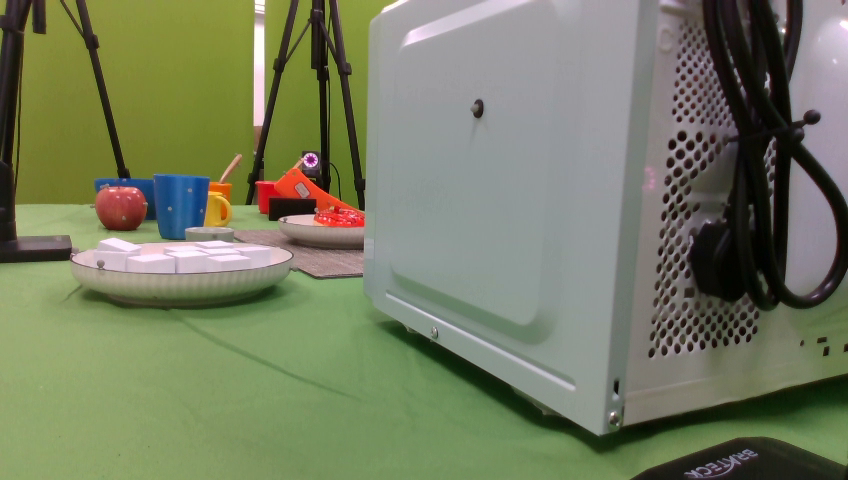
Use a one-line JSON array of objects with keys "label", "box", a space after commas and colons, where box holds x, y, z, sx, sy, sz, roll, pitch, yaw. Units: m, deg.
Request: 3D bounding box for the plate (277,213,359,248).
[{"label": "plate", "box": [-0.135, -0.017, 0.992, 0.209, 0.038, 0.209, 2, 8, 0]}]

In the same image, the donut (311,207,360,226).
[{"label": "donut", "box": [-0.137, -0.029, 0.995, 0.099, 0.048, 0.099, 4, 9, 0]}]

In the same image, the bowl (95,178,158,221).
[{"label": "bowl", "box": [-0.576, -0.081, 1.217, 0.151, 0.077, 0.151, 3, 8, 0]}]

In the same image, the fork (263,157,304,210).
[{"label": "fork", "box": [-0.345, -0.143, 1.506, 0.028, 0.019, 0.207, -4, 46, 29]}]

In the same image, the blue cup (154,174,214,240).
[{"label": "blue cup", "box": [-0.391, -0.053, 0.978, 0.093, 0.100, 0.092, 3, 6, 0]}]

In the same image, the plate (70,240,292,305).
[{"label": "plate", "box": [-0.242, 0.031, 0.618, 0.208, 0.039, 0.207, 2, 8, 0]}]

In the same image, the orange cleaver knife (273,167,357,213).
[{"label": "orange cleaver knife", "box": [-0.238, -0.091, 1.381, 0.212, 0.077, 0.012, 31, 0, -19]}]

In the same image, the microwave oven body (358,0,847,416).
[{"label": "microwave oven body", "box": [0.211, -0.047, 0.474, 0.444, 0.260, 0.324, -1, 7, -28]}]

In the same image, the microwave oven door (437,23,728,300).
[{"label": "microwave oven door", "box": [0.181, -0.072, 0.621, 0.358, 0.243, 0.039, -2, 9, -29]}]

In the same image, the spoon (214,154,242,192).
[{"label": "spoon", "box": [-0.439, -0.124, 1.318, 0.041, 0.193, 0.022, 5, -36, 16]}]

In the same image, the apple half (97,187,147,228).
[{"label": "apple half", "box": [-0.534, -0.059, 1.071, 0.082, 0.081, 0.032, -1, 11, -25]}]

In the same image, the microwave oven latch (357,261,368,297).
[{"label": "microwave oven latch", "box": [-0.019, 0.033, 0.530, 0.079, 0.029, 0.030, -1, 7, -26]}]

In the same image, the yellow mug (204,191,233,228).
[{"label": "yellow mug", "box": [-0.415, -0.057, 1.131, 0.130, 0.064, 0.100, 6, 7, 16]}]

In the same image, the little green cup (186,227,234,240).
[{"label": "little green cup", "box": [-0.285, 0.005, 0.805, 0.061, 0.038, 0.061, 2, 8, 0]}]

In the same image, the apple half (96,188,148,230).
[{"label": "apple half", "box": [-0.517, -0.052, 1.036, 0.081, 0.074, 0.053, 2, 10, -26]}]
